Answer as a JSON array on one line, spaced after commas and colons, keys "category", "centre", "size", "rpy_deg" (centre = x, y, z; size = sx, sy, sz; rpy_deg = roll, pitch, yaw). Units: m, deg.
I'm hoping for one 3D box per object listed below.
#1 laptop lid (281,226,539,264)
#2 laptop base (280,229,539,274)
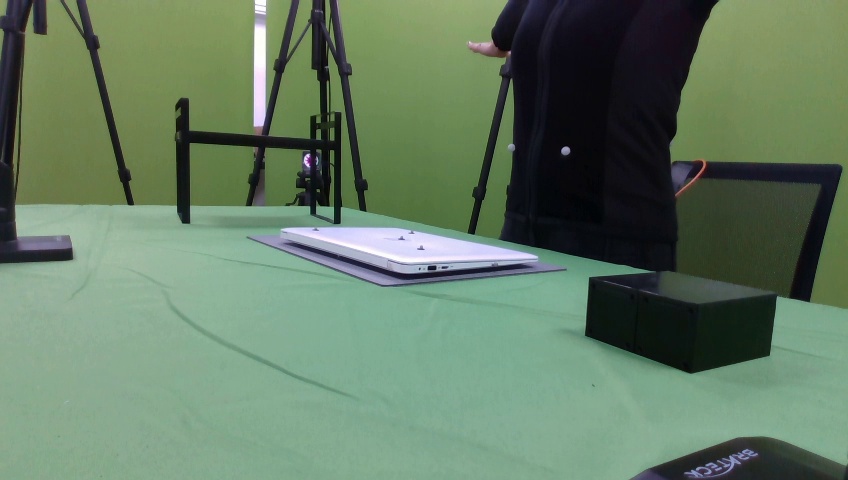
[{"category": "laptop lid", "centre": [-0.034, 0.002, 0.895], "size": [0.243, 0.013, 0.355], "rpy_deg": [0, 8, -36]}, {"category": "laptop base", "centre": [-0.037, 0.014, 0.895], "size": [0.237, 0.023, 0.352], "rpy_deg": [1, 7, -38]}]
